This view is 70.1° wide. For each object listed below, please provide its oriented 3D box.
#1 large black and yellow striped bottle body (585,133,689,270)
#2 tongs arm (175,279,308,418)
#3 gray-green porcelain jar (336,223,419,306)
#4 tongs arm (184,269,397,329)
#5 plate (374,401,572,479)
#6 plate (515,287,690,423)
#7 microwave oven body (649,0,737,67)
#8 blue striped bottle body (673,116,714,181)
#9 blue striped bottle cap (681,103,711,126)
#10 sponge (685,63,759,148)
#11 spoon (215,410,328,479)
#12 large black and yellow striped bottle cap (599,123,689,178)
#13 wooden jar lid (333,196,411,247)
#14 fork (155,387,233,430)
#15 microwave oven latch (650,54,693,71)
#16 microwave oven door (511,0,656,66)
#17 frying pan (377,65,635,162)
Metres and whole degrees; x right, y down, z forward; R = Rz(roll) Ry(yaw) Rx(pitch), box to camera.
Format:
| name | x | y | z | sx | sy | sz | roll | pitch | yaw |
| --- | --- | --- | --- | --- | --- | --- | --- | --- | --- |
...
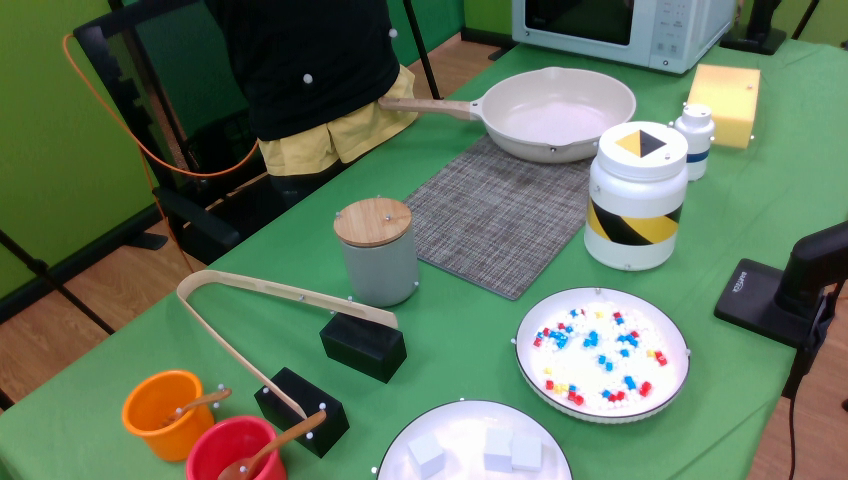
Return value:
| name | x | y | z | sx | sy | sz | roll | pitch | yaw |
| --- | --- | --- | --- | --- | --- | --- | --- | --- | --- |
| large black and yellow striped bottle body | 0.305 | -0.061 | 0.874 | 0.131 | 0.185 | 0.130 | -4 | 41 | 4 |
| tongs arm | -0.255 | 0.133 | 0.800 | 0.028 | 0.028 | 0.384 | -41 | 40 | -23 |
| gray-green porcelain jar | -0.064 | 0.024 | 0.872 | 0.106 | 0.127 | 0.105 | -4 | 41 | 4 |
| tongs arm | -0.202 | 0.085 | 0.847 | 0.382 | 0.027 | 0.051 | 11 | 44 | 34 |
| plate | 0.051 | 0.268 | 0.639 | 0.207 | 0.039 | 0.206 | -3 | 40 | 3 |
| plate | 0.220 | 0.144 | 0.760 | 0.209 | 0.038 | 0.208 | -4 | 40 | 4 |
| microwave oven body | 0.475 | -0.602 | 1.411 | 0.438 | 0.261 | 0.327 | 23 | 50 | 32 |
| blue striped bottle body | 0.451 | -0.166 | 1.023 | 0.063 | 0.121 | 0.063 | -5 | 41 | 4 |
| blue striped bottle cap | 0.446 | -0.205 | 0.990 | 0.044 | 0.021 | 0.044 | -5 | 43 | 5 |
| sponge | 0.569 | -0.263 | 1.164 | 0.117 | 0.061 | 0.207 | 12 | 45 | 22 |
| spoon | -0.165 | 0.224 | 0.639 | 0.193 | 0.022 | 0.041 | -40 | 32 | 30 |
| large black and yellow striped bottle cap | 0.296 | -0.123 | 0.818 | 0.115 | 0.019 | 0.114 | -5 | 40 | 5 |
| wooden jar lid | -0.070 | -0.023 | 0.830 | 0.108 | 0.021 | 0.108 | -4 | 36 | 3 |
| fork | -0.264 | 0.191 | 0.687 | 0.206 | 0.018 | 0.028 | -33 | 7 | 44 |
| microwave oven latch | 0.531 | -0.386 | 1.301 | 0.078 | 0.029 | 0.030 | 26 | 51 | 33 |
| microwave oven door | 0.351 | -0.539 | 1.349 | 0.353 | 0.245 | 0.039 | 24 | 50 | 31 |
| frying pan | 0.150 | -0.254 | 1.177 | 0.488 | 0.103 | 0.306 | 6 | 41 | 3 |
